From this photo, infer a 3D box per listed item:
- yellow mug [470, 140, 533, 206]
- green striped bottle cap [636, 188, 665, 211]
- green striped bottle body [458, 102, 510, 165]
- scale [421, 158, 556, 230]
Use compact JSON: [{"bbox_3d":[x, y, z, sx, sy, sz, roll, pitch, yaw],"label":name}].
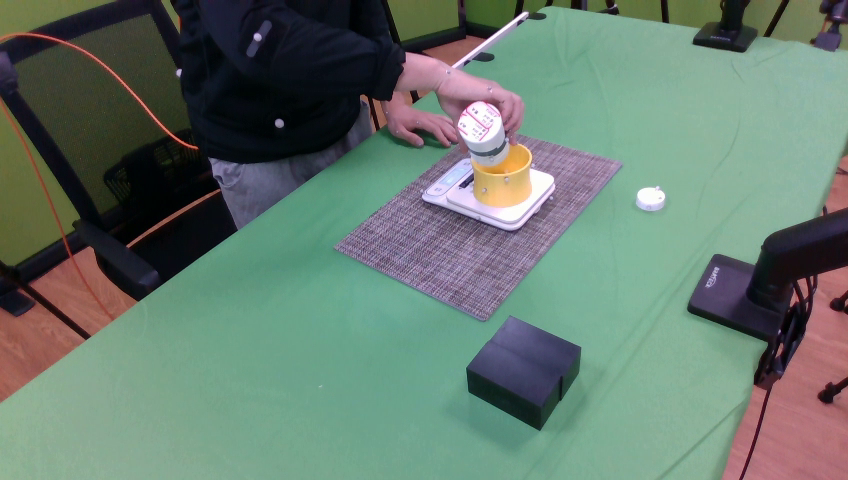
[{"bbox_3d":[0.125,-0.121,1.004,0.100,0.064,0.130,-13,41,-5],"label":"yellow mug"},{"bbox_3d":[0.374,-0.067,0.998,0.044,0.020,0.044,-6,39,5],"label":"green striped bottle cap"},{"bbox_3d":[0.093,-0.153,0.903,0.063,0.120,0.063,-3,76,14],"label":"green striped bottle body"},{"bbox_3d":[0.110,-0.089,1.042,0.199,0.032,0.149,23,48,31],"label":"scale"}]
